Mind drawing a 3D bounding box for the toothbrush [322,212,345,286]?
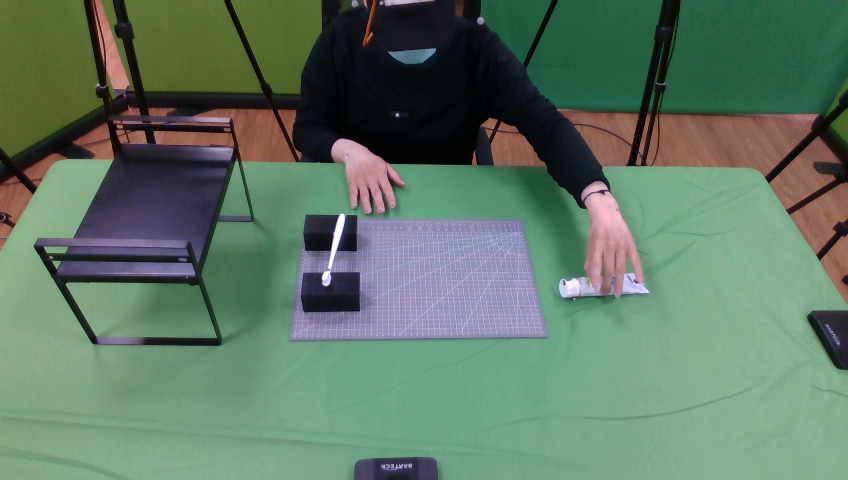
[{"bbox_3d":[-0.164,0.011,1.101,0.014,0.017,0.181,-6,44,12],"label":"toothbrush"}]

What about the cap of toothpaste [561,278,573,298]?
[{"bbox_3d":[0.263,0.087,1.113,0.011,0.037,0.037,-6,47,-15],"label":"cap of toothpaste"}]

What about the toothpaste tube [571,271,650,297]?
[{"bbox_3d":[0.340,0.083,1.132,0.165,0.035,0.054,-5,46,-15],"label":"toothpaste tube"}]
